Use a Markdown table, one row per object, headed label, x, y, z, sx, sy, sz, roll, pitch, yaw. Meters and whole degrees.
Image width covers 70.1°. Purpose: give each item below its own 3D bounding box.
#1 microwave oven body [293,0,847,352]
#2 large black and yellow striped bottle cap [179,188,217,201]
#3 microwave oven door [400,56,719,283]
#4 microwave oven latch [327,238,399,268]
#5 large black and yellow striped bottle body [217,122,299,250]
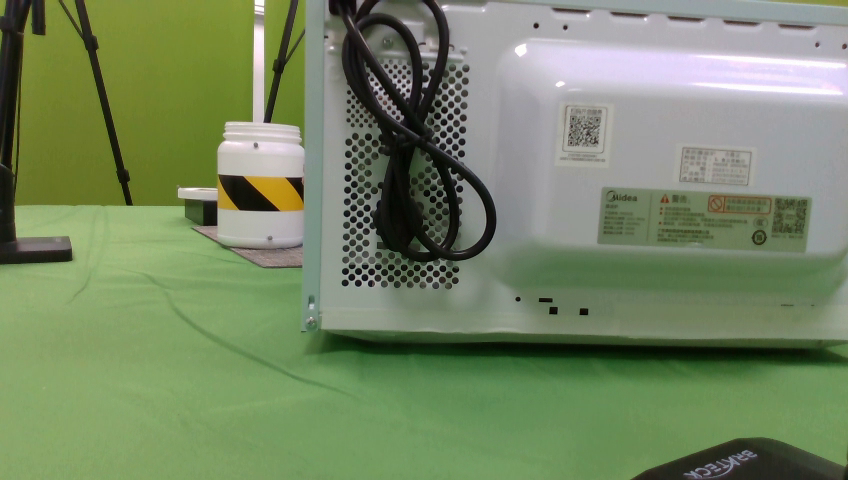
| label | x | y | z | sx | sy | sz | roll | pitch | yaw |
| --- | --- | --- | --- | --- | --- | --- | --- | --- | --- |
| microwave oven body | 0.122 | -0.055 | 0.550 | 0.442 | 0.260 | 0.325 | 3 | 7 | -5 |
| large black and yellow striped bottle cap | -0.434 | -0.093 | 1.226 | 0.115 | 0.019 | 0.115 | 3 | 9 | 0 |
| microwave oven door | 0.155 | -0.077 | 0.698 | 0.356 | 0.243 | 0.039 | 2 | 8 | -5 |
| microwave oven latch | -0.070 | 0.015 | 0.693 | 0.079 | 0.029 | 0.030 | 3 | 7 | -1 |
| large black and yellow striped bottle body | -0.250 | -0.084 | 0.930 | 0.131 | 0.184 | 0.130 | 3 | 7 | 0 |
